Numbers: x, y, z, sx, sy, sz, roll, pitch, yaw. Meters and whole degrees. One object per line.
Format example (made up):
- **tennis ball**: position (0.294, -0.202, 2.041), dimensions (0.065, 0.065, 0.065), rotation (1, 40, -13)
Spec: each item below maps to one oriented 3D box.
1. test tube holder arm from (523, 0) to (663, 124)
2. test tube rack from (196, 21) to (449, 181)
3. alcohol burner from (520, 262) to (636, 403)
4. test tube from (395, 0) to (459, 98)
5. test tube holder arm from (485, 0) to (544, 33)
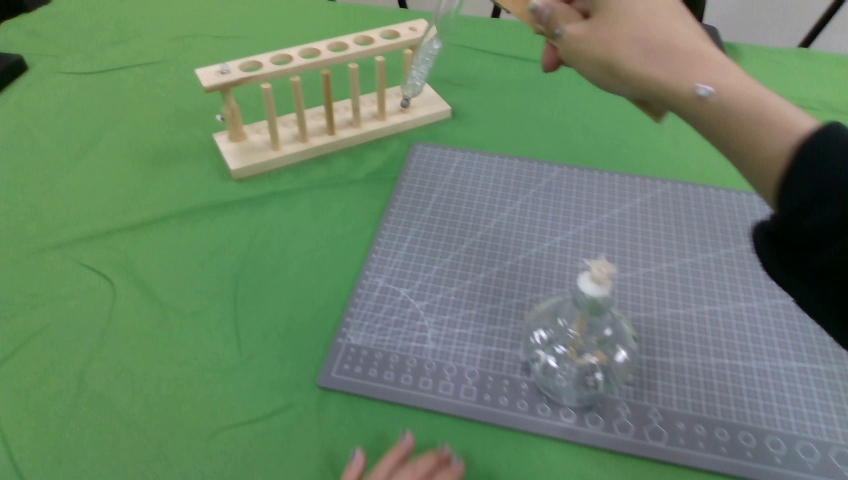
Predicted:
- **test tube holder arm**: position (0.072, -0.130, 0.371), dimensions (0.177, 0.015, 0.013), rotation (44, 26, 18)
- **test tube rack**: position (-0.093, -0.146, 0.618), dimensions (0.243, 0.086, 0.066), rotation (-20, 50, -20)
- **alcohol burner**: position (0.104, 0.056, 0.402), dimensions (0.078, 0.120, 0.077), rotation (0, 47, 0)
- **test tube**: position (0.017, -0.162, 0.394), dimensions (0.017, 0.151, 0.017), rotation (23, 23, -10)
- **test tube holder arm**: position (0.038, -0.158, 0.378), dimensions (0.087, 0.015, 0.010), rotation (41, 25, 11)
